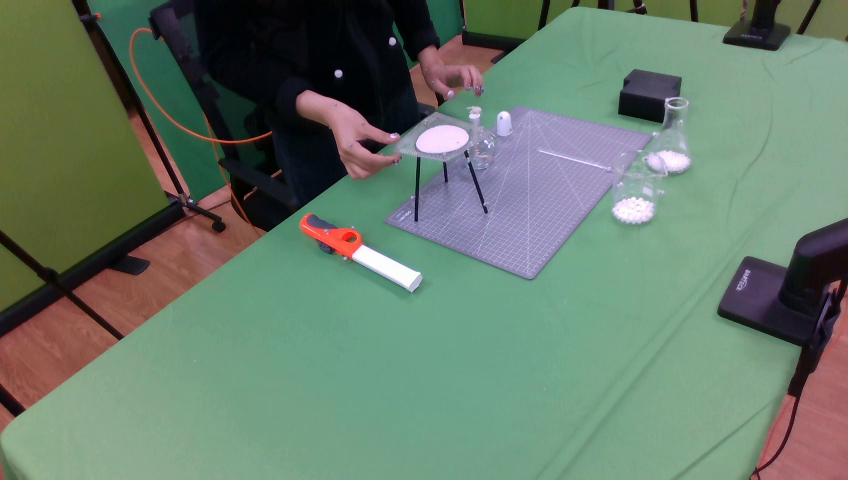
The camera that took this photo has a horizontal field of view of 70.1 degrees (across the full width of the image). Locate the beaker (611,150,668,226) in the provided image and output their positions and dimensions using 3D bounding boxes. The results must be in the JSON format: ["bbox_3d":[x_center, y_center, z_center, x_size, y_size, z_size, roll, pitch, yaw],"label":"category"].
[{"bbox_3d":[0.337,-0.079,0.953,0.083,0.101,0.074,25,51,33],"label":"beaker"}]

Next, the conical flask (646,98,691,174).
[{"bbox_3d":[0.426,-0.180,1.037,0.075,0.122,0.075,-5,40,5],"label":"conical flask"}]

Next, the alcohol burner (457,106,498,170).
[{"bbox_3d":[0.097,-0.192,1.117,0.078,0.119,0.077,-7,39,6],"label":"alcohol burner"}]

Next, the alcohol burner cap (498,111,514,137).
[{"bbox_3d":[0.163,-0.235,1.211,0.034,0.048,0.033,-6,40,6],"label":"alcohol burner cap"}]

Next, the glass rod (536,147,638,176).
[{"bbox_3d":[0.294,-0.145,1.104,0.198,0.008,0.008,22,50,31],"label":"glass rod"}]

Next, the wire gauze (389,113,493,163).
[{"bbox_3d":[0.026,-0.164,0.977,0.120,0.011,0.125,24,49,35],"label":"wire gauze"}]

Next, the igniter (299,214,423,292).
[{"bbox_3d":[-0.112,0.016,0.983,0.274,0.025,0.057,26,62,35],"label":"igniter"}]

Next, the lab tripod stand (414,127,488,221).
[{"bbox_3d":[0.035,-0.114,1.021,0.148,0.132,0.147,-7,39,6],"label":"lab tripod stand"}]
